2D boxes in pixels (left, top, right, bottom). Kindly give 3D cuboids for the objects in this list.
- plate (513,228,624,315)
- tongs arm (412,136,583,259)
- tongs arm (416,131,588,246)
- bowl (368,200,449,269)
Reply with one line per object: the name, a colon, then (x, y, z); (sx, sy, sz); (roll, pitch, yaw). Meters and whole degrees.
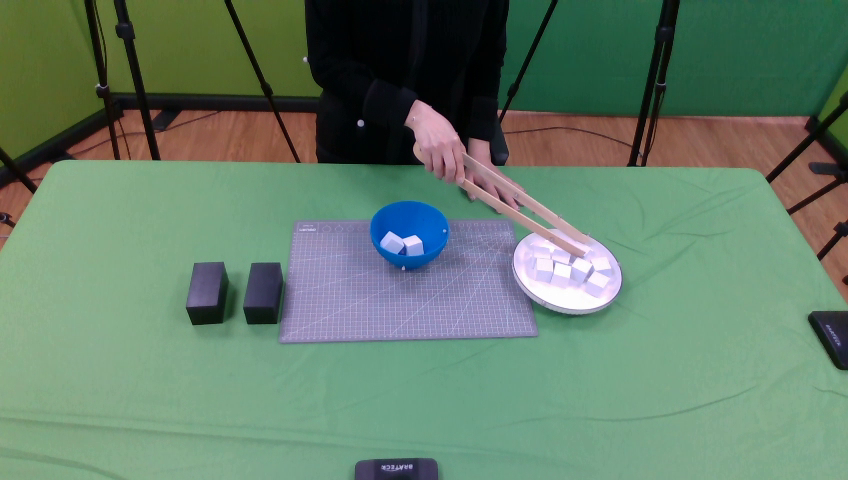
plate: (0.268, 0.063, 1.146); (0.208, 0.039, 0.206); (3, 46, -3)
tongs arm: (0.137, -0.076, 1.148); (0.388, 0.028, 0.028); (33, 58, -2)
tongs arm: (0.148, -0.094, 1.164); (0.385, 0.026, 0.050); (36, 54, 0)
bowl: (-0.030, 0.002, 1.151); (0.151, 0.077, 0.150); (2, 46, -2)
